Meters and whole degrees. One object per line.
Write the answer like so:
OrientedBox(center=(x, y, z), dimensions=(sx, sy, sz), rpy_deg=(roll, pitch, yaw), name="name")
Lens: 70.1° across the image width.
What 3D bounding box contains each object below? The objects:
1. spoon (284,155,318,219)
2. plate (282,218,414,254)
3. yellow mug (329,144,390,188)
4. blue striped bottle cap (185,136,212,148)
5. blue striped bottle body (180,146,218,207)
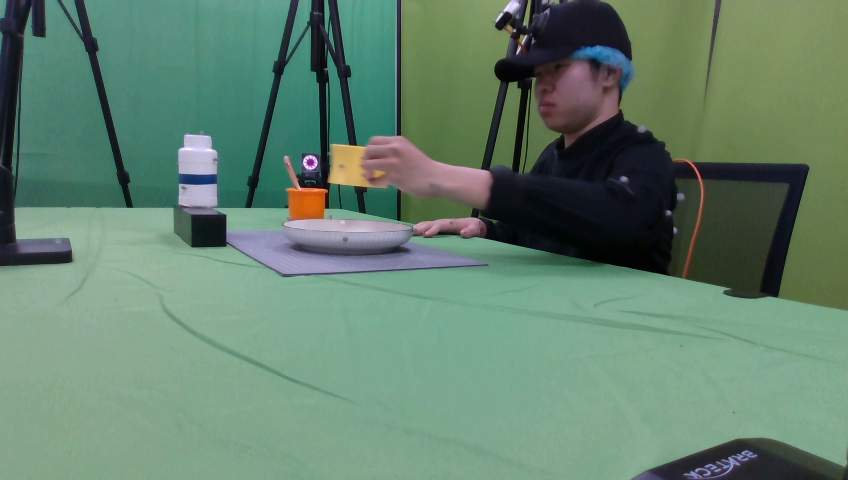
OrientedBox(center=(-0.286, -0.122, 1.366), dimensions=(0.042, 0.021, 0.193), rpy_deg=(-5, 50, -36), name="spoon")
OrientedBox(center=(-0.121, -0.007, 0.971), dimensions=(0.208, 0.039, 0.207), rpy_deg=(2, 7, 0), name="plate")
OrientedBox(center=(-0.104, -0.124, 1.013), dimensions=(0.100, 0.064, 0.130), rpy_deg=(2, 9, -22), name="yellow mug")
OrientedBox(center=(-0.390, -0.169, 1.047), dimensions=(0.044, 0.020, 0.044), rpy_deg=(4, 10, 0), name="blue striped bottle cap")
OrientedBox(center=(-0.392, -0.118, 1.053), dimensions=(0.063, 0.120, 0.063), rpy_deg=(2, 8, 0), name="blue striped bottle body")
